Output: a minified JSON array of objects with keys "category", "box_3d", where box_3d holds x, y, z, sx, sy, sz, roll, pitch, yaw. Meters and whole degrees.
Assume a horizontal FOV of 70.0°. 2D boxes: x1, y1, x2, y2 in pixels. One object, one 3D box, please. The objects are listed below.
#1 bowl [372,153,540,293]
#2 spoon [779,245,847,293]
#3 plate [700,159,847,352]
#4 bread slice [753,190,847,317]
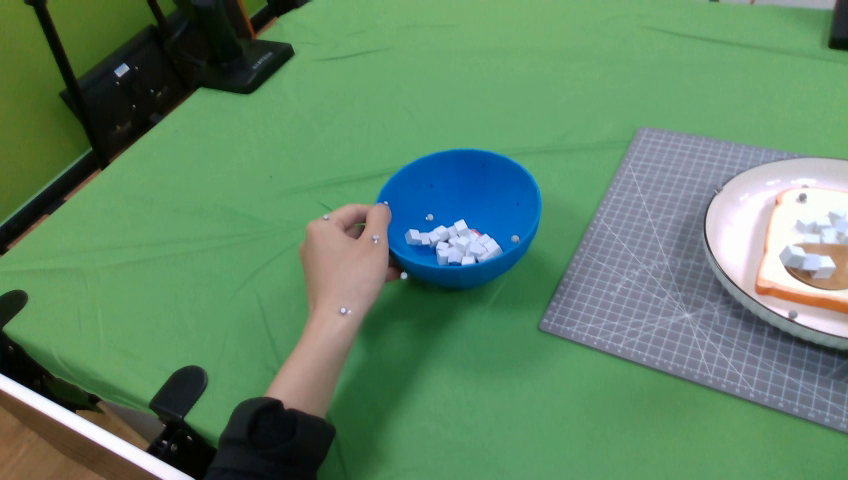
[{"category":"bowl","box_3d":[0.032,-0.003,0.563,0.151,0.077,0.150,-5,47,6]},{"category":"spoon","box_3d":[0.323,0.004,0.371,0.193,0.022,0.041,-11,39,15]},{"category":"plate","box_3d":[0.343,0.011,0.511,0.209,0.038,0.207,-7,46,7]},{"category":"bread slice","box_3d":[0.343,0.008,0.517,0.106,0.018,0.133,10,51,22]}]
